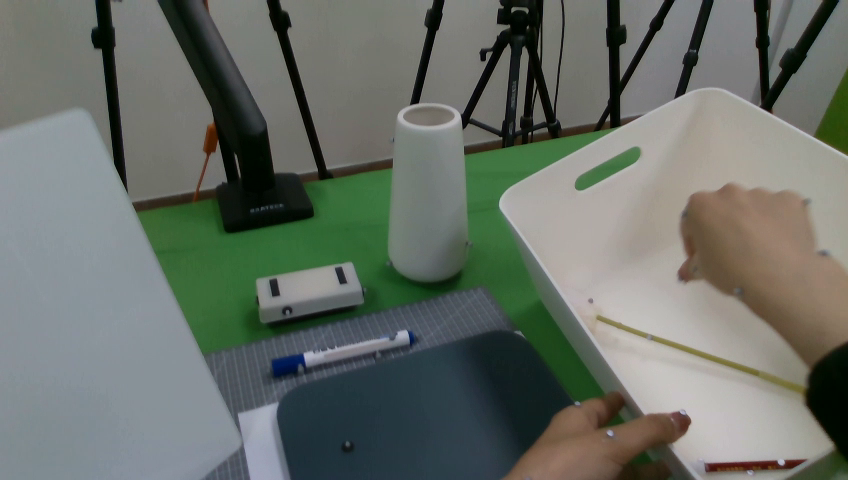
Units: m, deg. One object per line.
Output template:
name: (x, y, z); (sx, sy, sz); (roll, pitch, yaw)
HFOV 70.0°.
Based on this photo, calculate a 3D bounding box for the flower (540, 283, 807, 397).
flower: (0.269, 0.112, 0.563); (0.358, 0.044, 0.038); (21, 81, 36)

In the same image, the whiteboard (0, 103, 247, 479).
whiteboard: (-0.310, 0.081, 0.452); (0.143, 0.307, 0.217); (7, 31, 43)

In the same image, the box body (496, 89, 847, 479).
box body: (0.259, 0.048, 0.531); (0.254, 0.162, 0.360); (-28, 38, 0)

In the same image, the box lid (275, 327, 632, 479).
box lid: (0.041, 0.216, 0.474); (0.264, 0.015, 0.367); (-12, 37, -18)

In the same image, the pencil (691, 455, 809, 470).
pencil: (0.293, 0.176, 0.482); (0.193, 0.012, 0.012); (-10, 31, 21)

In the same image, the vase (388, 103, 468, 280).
vase: (0.007, -0.051, 0.696); (0.098, 0.201, 0.097); (2, 35, -1)

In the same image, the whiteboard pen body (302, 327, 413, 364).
whiteboard pen body: (-0.079, 0.109, 0.618); (0.141, 0.017, 0.017); (-10, 36, -15)

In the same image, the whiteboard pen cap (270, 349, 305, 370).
whiteboard pen cap: (-0.135, 0.119, 0.602); (0.033, 0.018, 0.018); (-7, 36, -16)

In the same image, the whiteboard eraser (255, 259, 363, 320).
whiteboard eraser: (-0.128, 0.056, 0.675); (0.113, 0.042, 0.055); (-11, 35, -15)
